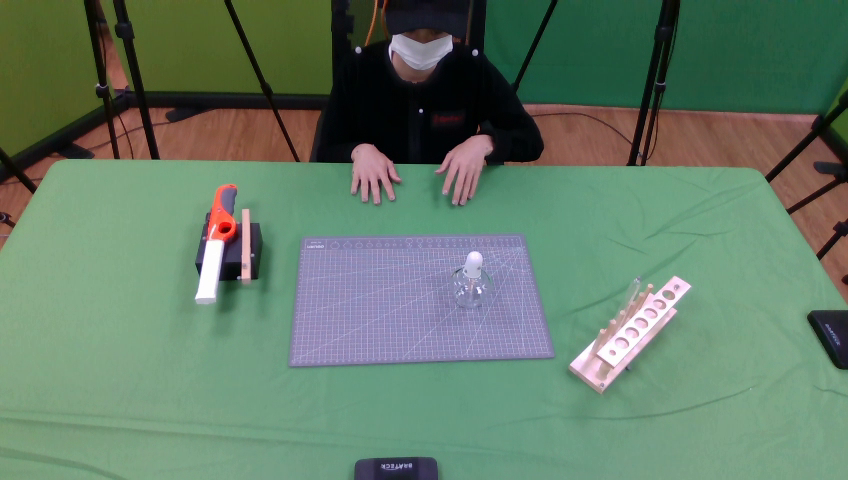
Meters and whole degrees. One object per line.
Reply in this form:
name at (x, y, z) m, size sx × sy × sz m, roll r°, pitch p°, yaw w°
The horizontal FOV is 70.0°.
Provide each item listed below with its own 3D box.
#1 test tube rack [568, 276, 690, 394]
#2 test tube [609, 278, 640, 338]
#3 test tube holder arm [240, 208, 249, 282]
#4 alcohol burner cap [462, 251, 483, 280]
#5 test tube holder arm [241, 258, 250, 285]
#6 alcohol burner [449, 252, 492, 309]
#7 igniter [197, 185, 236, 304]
test tube rack at (0.353, 0.149, 1.039) m, size 0.242 × 0.085 × 0.066 m, roll -34°, pitch 56°, yaw -31°
test tube at (0.331, 0.115, 1.007) m, size 0.017 × 0.151 × 0.017 m, roll 2°, pitch 45°, yaw -2°
test tube holder arm at (-0.323, 0.006, 1.096) m, size 0.015 × 0.013 × 0.177 m, roll -1°, pitch 48°, yaw -15°
alcohol burner cap at (0.085, 0.042, 1.048) m, size 0.034 × 0.048 × 0.033 m, roll 4°, pitch 41°, yaw -3°
test tube holder arm at (-0.316, 0.042, 1.071) m, size 0.015 × 0.010 × 0.087 m, roll -1°, pitch 48°, yaw -15°
alcohol burner at (0.084, 0.066, 1.074) m, size 0.078 × 0.120 × 0.077 m, roll 1°, pitch 44°, yaw -1°
igniter at (-0.376, -0.002, 1.101) m, size 0.057 × 0.025 × 0.274 m, roll -1°, pitch 49°, yaw -7°
